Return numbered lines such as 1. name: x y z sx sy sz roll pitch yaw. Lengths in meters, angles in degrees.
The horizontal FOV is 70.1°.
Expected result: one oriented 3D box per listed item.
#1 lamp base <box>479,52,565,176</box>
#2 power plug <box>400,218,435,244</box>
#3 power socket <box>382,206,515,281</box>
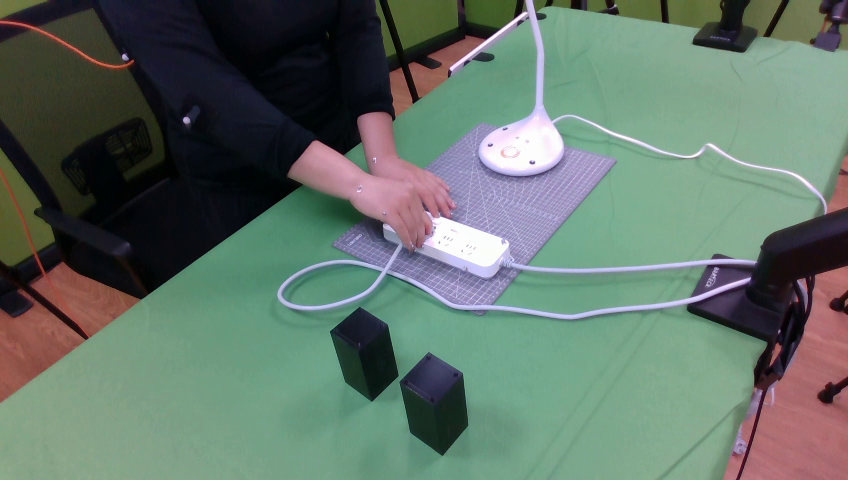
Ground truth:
1. lamp base: 0.181 -0.235 1.093 0.159 0.181 0.179 18 44 27
2. power plug: -0.015 -0.006 0.938 0.073 0.053 0.035 -36 47 -24
3. power socket: 0.032 0.002 0.950 0.225 0.033 0.072 21 49 29
